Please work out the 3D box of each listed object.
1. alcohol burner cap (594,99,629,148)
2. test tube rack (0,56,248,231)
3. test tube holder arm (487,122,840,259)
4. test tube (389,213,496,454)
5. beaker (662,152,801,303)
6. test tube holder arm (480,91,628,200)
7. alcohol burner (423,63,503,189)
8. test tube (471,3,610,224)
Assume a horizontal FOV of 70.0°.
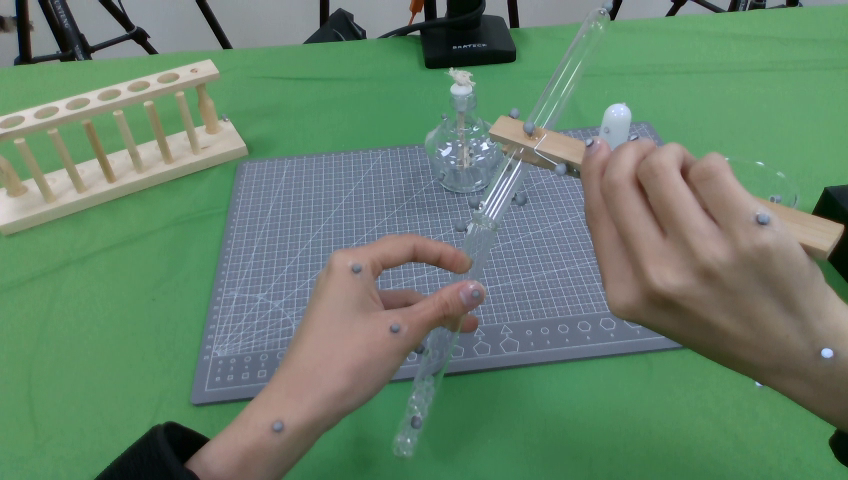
[{"bbox_3d":[0.197,-0.124,0.632,0.034,0.048,0.033,-1,44,2],"label":"alcohol burner cap"},{"bbox_3d":[-0.314,-0.102,0.609,0.243,0.086,0.066,-23,47,-20],"label":"test tube rack"},{"bbox_3d":[0.098,-0.032,0.288,0.176,0.013,0.015,30,79,42],"label":"test tube holder arm"},{"bbox_3d":[0.009,0.056,0.344,0.017,0.151,0.017,18,12,-4],"label":"test tube"},{"bbox_3d":[0.227,-0.007,0.468,0.074,0.101,0.083,-27,48,-23],"label":"beaker"},{"bbox_3d":[0.068,-0.050,0.317,0.087,0.010,0.015,35,83,17],"label":"test tube holder arm"},{"bbox_3d":[0.036,-0.109,0.574,0.078,0.120,0.077,-3,43,3],"label":"alcohol burner"},{"bbox_3d":[0.068,-0.074,0.342,0.017,0.017,0.150,24,76,26],"label":"test tube"}]
